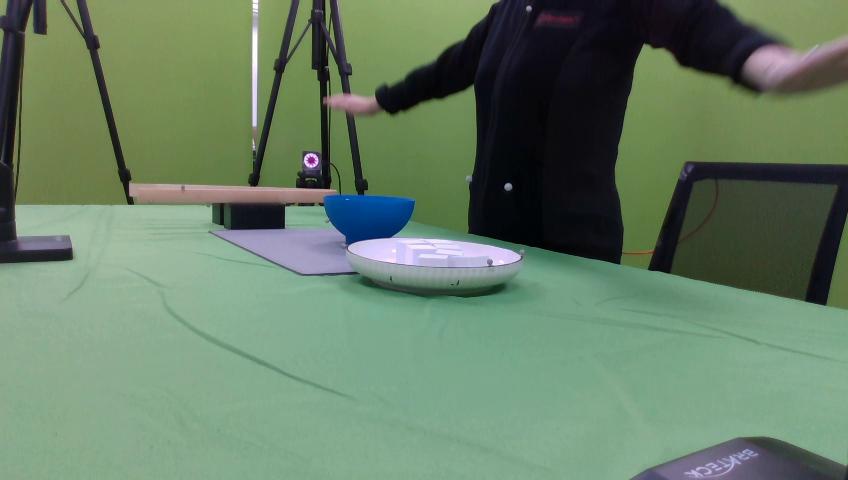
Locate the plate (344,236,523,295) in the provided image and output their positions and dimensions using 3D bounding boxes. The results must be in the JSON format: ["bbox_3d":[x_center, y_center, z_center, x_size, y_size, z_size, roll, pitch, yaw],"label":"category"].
[{"bbox_3d":[0.010,0.030,0.707,0.208,0.039,0.207,3,8,0],"label":"plate"}]

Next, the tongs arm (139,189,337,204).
[{"bbox_3d":[-0.333,-0.083,1.145,0.387,0.026,0.050,-3,8,-34],"label":"tongs arm"}]

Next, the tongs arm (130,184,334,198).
[{"bbox_3d":[-0.372,-0.094,1.212,0.389,0.028,0.028,-1,3,-22],"label":"tongs arm"}]

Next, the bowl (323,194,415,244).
[{"bbox_3d":[-0.091,-0.032,0.987,0.151,0.077,0.151,2,7,0],"label":"bowl"}]
